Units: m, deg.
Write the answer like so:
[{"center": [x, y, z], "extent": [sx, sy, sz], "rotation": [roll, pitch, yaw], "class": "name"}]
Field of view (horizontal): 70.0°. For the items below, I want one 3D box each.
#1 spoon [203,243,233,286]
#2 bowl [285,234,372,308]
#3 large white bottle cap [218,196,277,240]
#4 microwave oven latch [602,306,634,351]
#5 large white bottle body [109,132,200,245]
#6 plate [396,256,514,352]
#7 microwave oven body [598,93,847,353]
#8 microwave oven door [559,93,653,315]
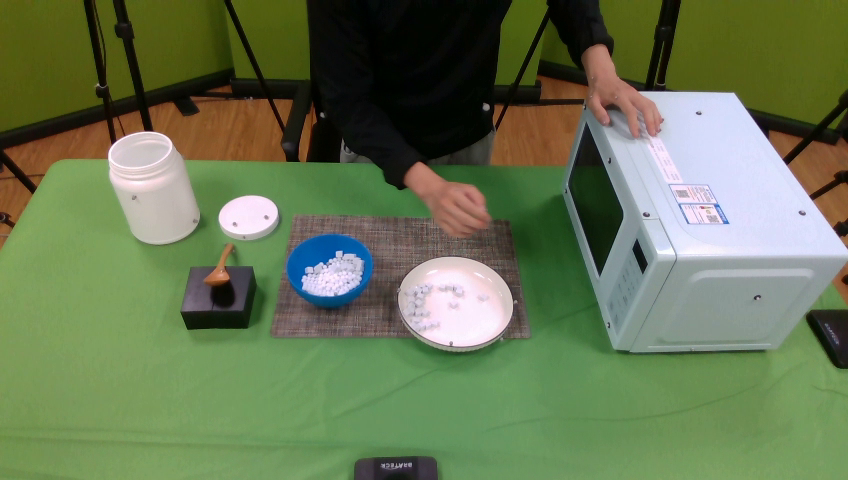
[{"center": [-0.360, 0.039, 1.087], "extent": [0.041, 0.022, 0.192], "rotation": [-5, 24, -7], "class": "spoon"}, {"center": [-0.167, 0.068, 1.077], "extent": [0.151, 0.077, 0.150], "rotation": [3, 46, -3], "class": "bowl"}, {"center": [-0.355, -0.045, 1.220], "extent": [0.115, 0.018, 0.114], "rotation": [2, 45, -2], "class": "large white bottle cap"}, {"center": [0.332, 0.153, 1.044], "extent": [0.030, 0.029, 0.078], "rotation": [0, 45, -4], "class": "microwave oven latch"}, {"center": [-0.506, -0.097, 1.141], "extent": [0.131, 0.185, 0.130], "rotation": [2, 46, -2], "class": "large white bottle body"}, {"center": [0.053, 0.116, 1.077], "extent": [0.209, 0.038, 0.208], "rotation": [2, 46, -2], "class": "plate"}, {"center": [0.475, -0.042, 1.109], "extent": [0.326, 0.261, 0.438], "rotation": [-1, 45, -4], "class": "microwave oven body"}, {"center": [0.327, -0.074, 1.123], "extent": [0.039, 0.245, 0.353], "rotation": [-1, 46, -5], "class": "microwave oven door"}]
